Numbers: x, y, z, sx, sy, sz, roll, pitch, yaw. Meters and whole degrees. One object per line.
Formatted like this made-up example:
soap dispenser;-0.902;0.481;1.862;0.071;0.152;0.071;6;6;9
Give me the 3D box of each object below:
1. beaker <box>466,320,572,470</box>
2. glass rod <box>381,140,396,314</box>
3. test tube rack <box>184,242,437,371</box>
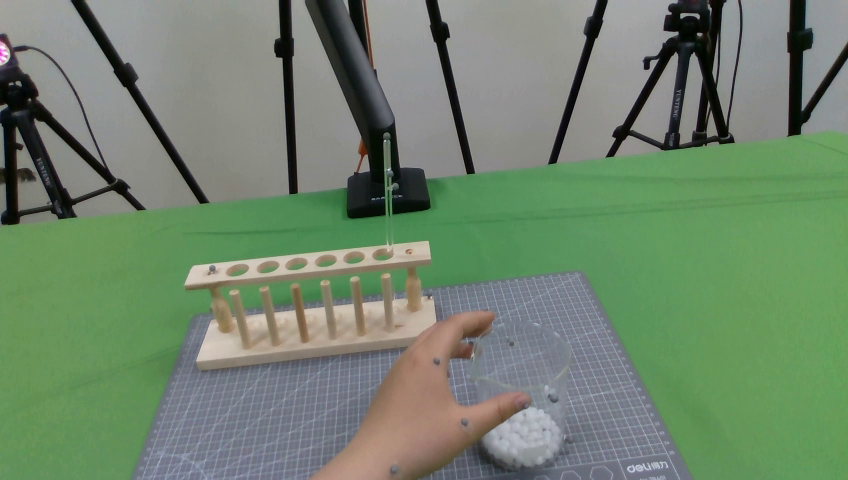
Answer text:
beaker;0.074;0.127;0.483;0.084;0.101;0.073;-17;34;-16
glass rod;-0.034;-0.005;0.596;0.008;0.201;0.008;-1;33;1
test tube rack;-0.112;0.067;0.619;0.242;0.086;0.066;-6;33;-1
